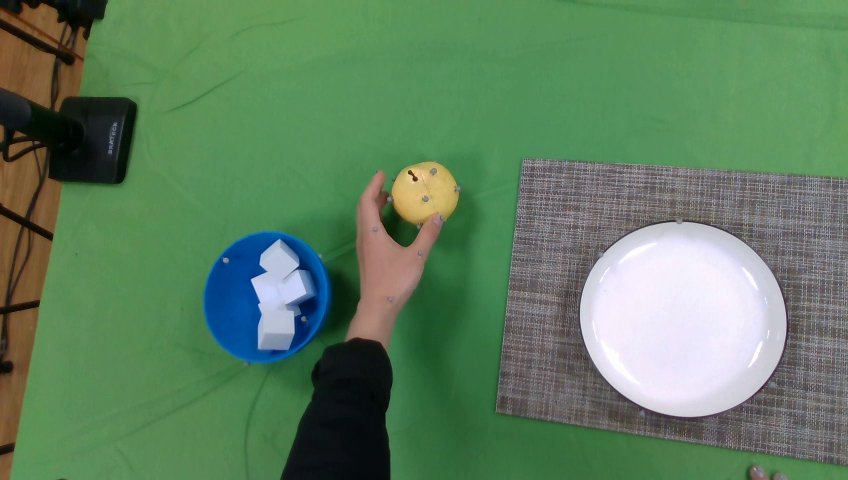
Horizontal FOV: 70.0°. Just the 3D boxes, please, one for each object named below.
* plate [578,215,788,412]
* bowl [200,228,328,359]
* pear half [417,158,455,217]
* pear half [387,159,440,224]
[{"bbox_3d":[0.272,0.078,0.652,0.207,0.039,0.207,-2,81,11],"label":"plate"},{"bbox_3d":[-0.177,0.066,0.721,0.151,0.077,0.151,-2,81,10],"label":"bowl"},{"bbox_3d":[0.018,-0.066,0.699,0.031,0.089,0.070,-21,68,7],"label":"pear half"},{"bbox_3d":[-0.018,-0.057,0.693,0.056,0.111,0.075,-22,67,7],"label":"pear half"}]
